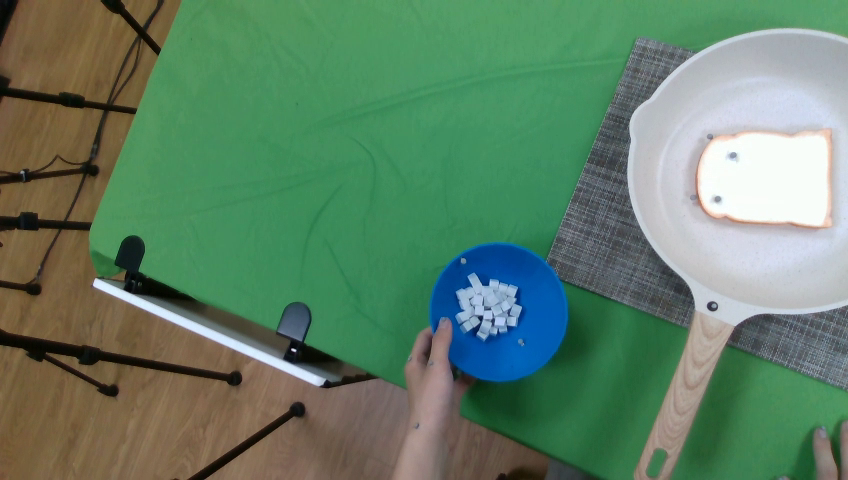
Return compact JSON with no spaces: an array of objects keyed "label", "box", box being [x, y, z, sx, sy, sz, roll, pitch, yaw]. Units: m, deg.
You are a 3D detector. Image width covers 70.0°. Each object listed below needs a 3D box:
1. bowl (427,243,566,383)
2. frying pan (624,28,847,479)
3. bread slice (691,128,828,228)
[{"label":"bowl","box":[0.084,0.082,0.683,0.151,0.077,0.151,-2,82,13]},{"label":"frying pan","box":[0.313,0.023,0.616,0.305,0.103,0.487,24,81,17]},{"label":"bread slice","box":[0.362,-0.065,0.655,0.134,0.018,0.106,0,83,12]}]
